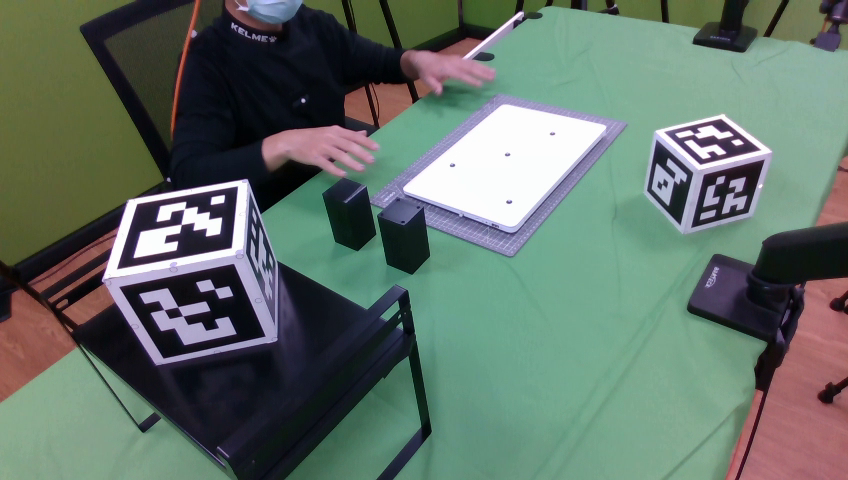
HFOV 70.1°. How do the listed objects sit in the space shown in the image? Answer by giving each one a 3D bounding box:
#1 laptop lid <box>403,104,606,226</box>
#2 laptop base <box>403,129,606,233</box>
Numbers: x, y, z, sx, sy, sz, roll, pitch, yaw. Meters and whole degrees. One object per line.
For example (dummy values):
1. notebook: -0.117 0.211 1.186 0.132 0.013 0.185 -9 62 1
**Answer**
1. laptop lid: 0.153 -0.154 1.110 0.240 0.013 0.358 22 48 33
2. laptop base: 0.156 -0.144 1.116 0.233 0.023 0.355 20 47 32
